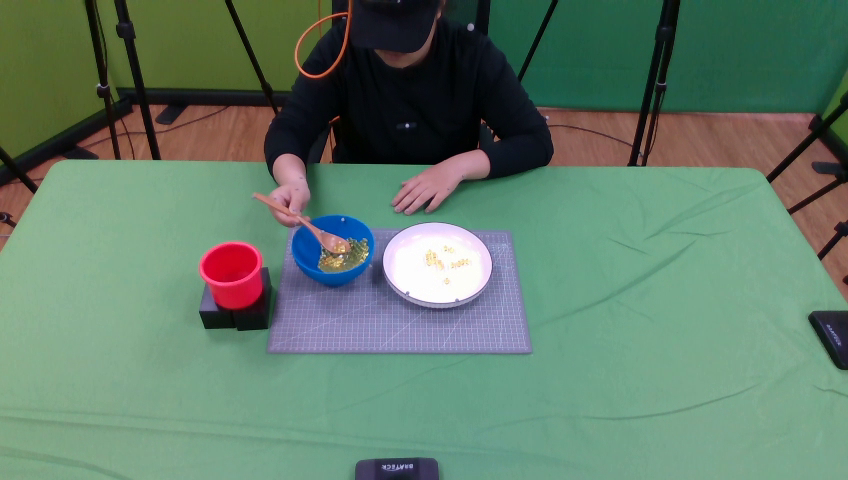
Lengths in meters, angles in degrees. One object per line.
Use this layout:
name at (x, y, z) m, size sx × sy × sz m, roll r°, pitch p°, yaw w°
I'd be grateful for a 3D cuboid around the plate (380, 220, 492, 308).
plate at (0.022, 0.048, 1.137) m, size 0.208 × 0.039 × 0.206 m, roll 2°, pitch 46°, yaw -2°

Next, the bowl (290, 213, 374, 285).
bowl at (-0.166, 0.030, 1.113) m, size 0.151 × 0.077 × 0.150 m, roll 2°, pitch 46°, yaw -2°

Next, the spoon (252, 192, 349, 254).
spoon at (-0.219, -0.033, 1.082) m, size 0.194 × 0.021 × 0.041 m, roll 35°, pitch 46°, yaw -12°
